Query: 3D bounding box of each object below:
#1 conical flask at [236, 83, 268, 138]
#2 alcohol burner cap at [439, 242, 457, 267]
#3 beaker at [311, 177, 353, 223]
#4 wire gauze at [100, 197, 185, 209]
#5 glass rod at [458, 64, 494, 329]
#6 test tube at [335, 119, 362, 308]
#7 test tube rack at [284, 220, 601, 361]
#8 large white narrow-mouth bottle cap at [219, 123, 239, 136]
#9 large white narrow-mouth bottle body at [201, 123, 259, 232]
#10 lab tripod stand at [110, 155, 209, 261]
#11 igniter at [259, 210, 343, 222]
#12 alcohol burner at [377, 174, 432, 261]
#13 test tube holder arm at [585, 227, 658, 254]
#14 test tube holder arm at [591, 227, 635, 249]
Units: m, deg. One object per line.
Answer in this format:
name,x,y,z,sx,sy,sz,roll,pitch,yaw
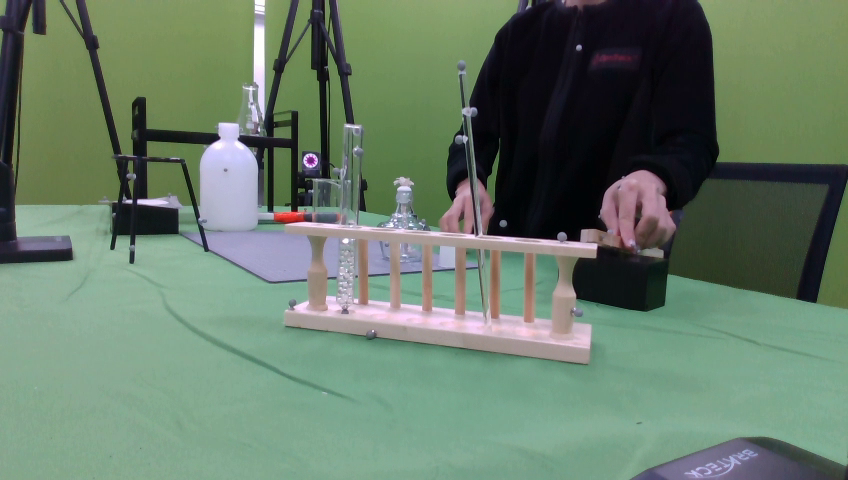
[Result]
conical flask,-0.400,-0.298,1.396,0.075,0.122,0.075,2,8,0
alcohol burner cap,0.038,0.011,0.807,0.034,0.048,0.034,3,8,0
beaker,-0.167,-0.064,1.106,0.074,0.100,0.083,-2,9,-27
wire gauze,-0.469,-0.062,1.008,0.126,0.011,0.121,-2,8,-25
glass rod,0.039,-0.029,0.449,0.008,0.199,0.008,-7,9,1
test tube,-0.060,-0.019,0.475,0.017,0.150,0.017,4,11,0
test tube rack,0.013,0.032,0.482,0.242,0.085,0.067,4,7,16
large white narrow-mouth bottle cap,-0.356,-0.201,1.104,0.038,0.024,0.037,2,8,0
large white narrow-mouth bottle body,-0.358,-0.116,1.116,0.102,0.194,0.102,2,8,0
lab tripod stand,-0.361,-0.046,0.806,0.148,0.131,0.148,2,5,0
igniter,-0.303,-0.049,1.258,0.278,0.025,0.057,-2,-2,-28
alcohol burner,-0.027,-0.031,0.838,0.078,0.119,0.078,0,6,0
test tube holder arm,0.223,0.002,0.670,0.013,0.015,0.179,19,7,39
test tube holder arm,0.198,-0.001,0.632,0.010,0.015,0.088,20,7,42
